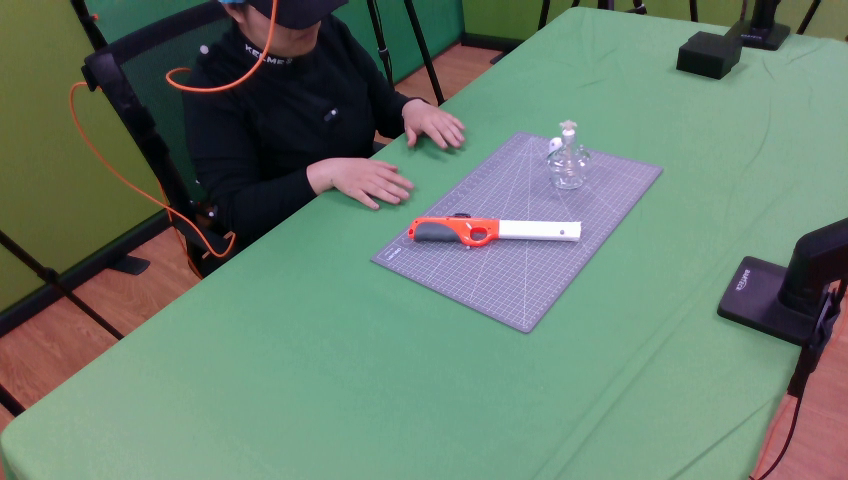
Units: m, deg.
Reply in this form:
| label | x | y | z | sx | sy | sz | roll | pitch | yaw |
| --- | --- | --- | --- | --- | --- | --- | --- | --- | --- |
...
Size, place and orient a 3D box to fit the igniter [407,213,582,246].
| label | x | y | z | sx | sy | sz | roll | pitch | yaw |
| --- | --- | --- | --- | --- | --- | --- | --- | --- | --- |
| igniter | 0.110 | -0.016 | 0.969 | 0.276 | 0.025 | 0.057 | 1 | 63 | 9 |

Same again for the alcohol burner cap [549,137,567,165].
| label | x | y | z | sx | sy | sz | roll | pitch | yaw |
| --- | --- | --- | --- | --- | --- | --- | --- | --- | --- |
| alcohol burner cap | 0.247 | -0.166 | 1.114 | 0.034 | 0.048 | 0.033 | -6 | 40 | 6 |

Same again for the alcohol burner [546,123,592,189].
| label | x | y | z | sx | sy | sz | roll | pitch | yaw |
| --- | --- | --- | --- | --- | --- | --- | --- | --- | --- |
| alcohol burner | 0.248 | -0.147 | 1.034 | 0.078 | 0.120 | 0.077 | -7 | 41 | 6 |
